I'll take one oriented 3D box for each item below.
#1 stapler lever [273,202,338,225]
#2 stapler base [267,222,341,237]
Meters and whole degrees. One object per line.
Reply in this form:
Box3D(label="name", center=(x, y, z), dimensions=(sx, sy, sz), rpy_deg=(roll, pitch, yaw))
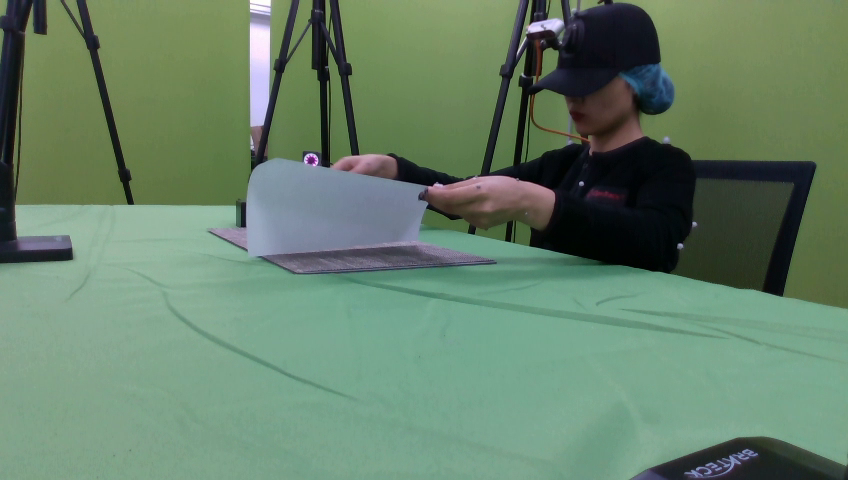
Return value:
Box3D(label="stapler lever", center=(-0.206, -0.045, 1.055), dimensions=(0.119, 0.040, 0.026), rpy_deg=(-2, 12, -41))
Box3D(label="stapler base", center=(-0.208, -0.020, 1.057), dimensions=(0.131, 0.024, 0.041), rpy_deg=(-2, 12, -41))
